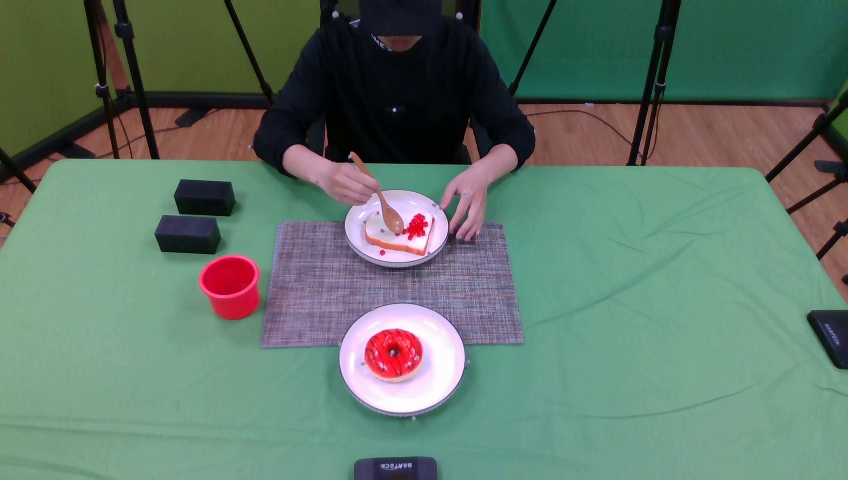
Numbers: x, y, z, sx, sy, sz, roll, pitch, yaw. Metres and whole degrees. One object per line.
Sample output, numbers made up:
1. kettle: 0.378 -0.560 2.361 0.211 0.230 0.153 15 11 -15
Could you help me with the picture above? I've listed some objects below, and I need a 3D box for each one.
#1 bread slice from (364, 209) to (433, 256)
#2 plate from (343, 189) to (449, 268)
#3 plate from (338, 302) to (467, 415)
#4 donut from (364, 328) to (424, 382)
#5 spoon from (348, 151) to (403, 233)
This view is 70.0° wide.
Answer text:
1. bread slice: -0.054 -0.019 1.200 0.131 0.019 0.104 11 46 2
2. plate: -0.055 -0.019 1.195 0.209 0.038 0.208 3 46 -2
3. plate: -0.035 0.194 0.992 0.208 0.039 0.206 2 48 -2
4. donut: -0.049 0.185 0.984 0.099 0.048 0.098 1 45 -1
5. spoon: -0.088 -0.088 1.119 0.021 0.195 0.041 7 49 37
